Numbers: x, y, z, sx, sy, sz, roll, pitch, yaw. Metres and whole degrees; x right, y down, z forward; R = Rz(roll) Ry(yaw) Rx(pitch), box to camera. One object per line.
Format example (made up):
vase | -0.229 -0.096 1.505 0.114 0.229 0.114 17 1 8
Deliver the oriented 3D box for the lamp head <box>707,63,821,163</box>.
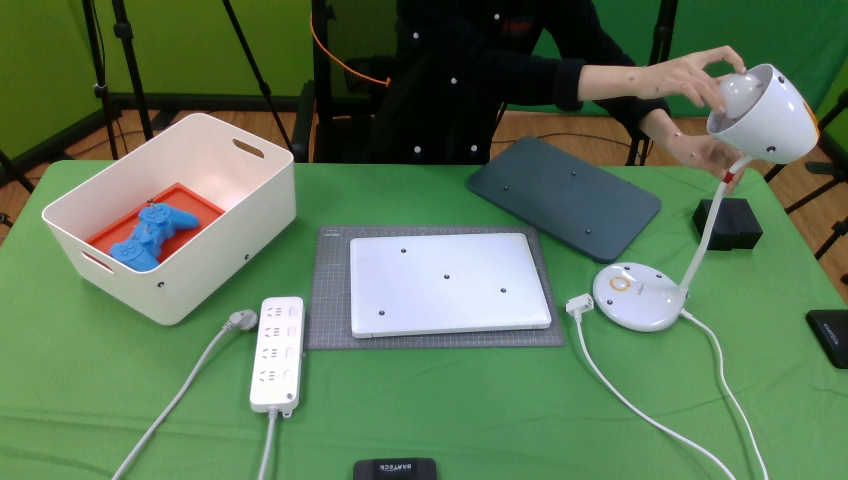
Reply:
lamp head | 0.461 -0.155 0.813 0.123 0.112 0.112 36 47 -12

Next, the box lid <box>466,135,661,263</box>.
box lid | 0.306 -0.102 1.327 0.370 0.015 0.263 32 52 25

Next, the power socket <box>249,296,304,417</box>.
power socket | -0.239 0.182 0.996 0.072 0.033 0.225 -2 47 -5

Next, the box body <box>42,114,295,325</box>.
box body | -0.437 -0.046 1.110 0.253 0.161 0.363 24 49 19

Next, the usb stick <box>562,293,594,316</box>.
usb stick | 0.274 0.118 1.087 0.021 0.059 0.027 38 45 -27

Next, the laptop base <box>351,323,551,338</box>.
laptop base | 0.040 0.080 1.125 0.355 0.023 0.234 -2 43 -6

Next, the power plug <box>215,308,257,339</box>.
power plug | -0.317 0.143 1.024 0.072 0.053 0.035 -33 58 -8

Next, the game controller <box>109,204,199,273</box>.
game controller | -0.467 -0.005 1.044 0.097 0.052 0.154 8 45 10

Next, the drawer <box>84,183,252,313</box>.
drawer | -0.457 0.008 1.099 0.194 0.073 0.211 29 49 21

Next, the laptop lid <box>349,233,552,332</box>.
laptop lid | 0.040 0.070 1.119 0.357 0.013 0.240 -1 44 -5

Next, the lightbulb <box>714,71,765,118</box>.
lightbulb | 0.439 -0.181 0.809 0.108 0.059 0.059 34 48 -7

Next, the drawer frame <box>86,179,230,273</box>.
drawer frame | -0.453 0.010 1.100 0.201 0.083 0.213 28 54 23

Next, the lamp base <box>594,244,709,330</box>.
lamp base | 0.412 0.052 1.070 0.179 0.181 0.160 18 48 9
